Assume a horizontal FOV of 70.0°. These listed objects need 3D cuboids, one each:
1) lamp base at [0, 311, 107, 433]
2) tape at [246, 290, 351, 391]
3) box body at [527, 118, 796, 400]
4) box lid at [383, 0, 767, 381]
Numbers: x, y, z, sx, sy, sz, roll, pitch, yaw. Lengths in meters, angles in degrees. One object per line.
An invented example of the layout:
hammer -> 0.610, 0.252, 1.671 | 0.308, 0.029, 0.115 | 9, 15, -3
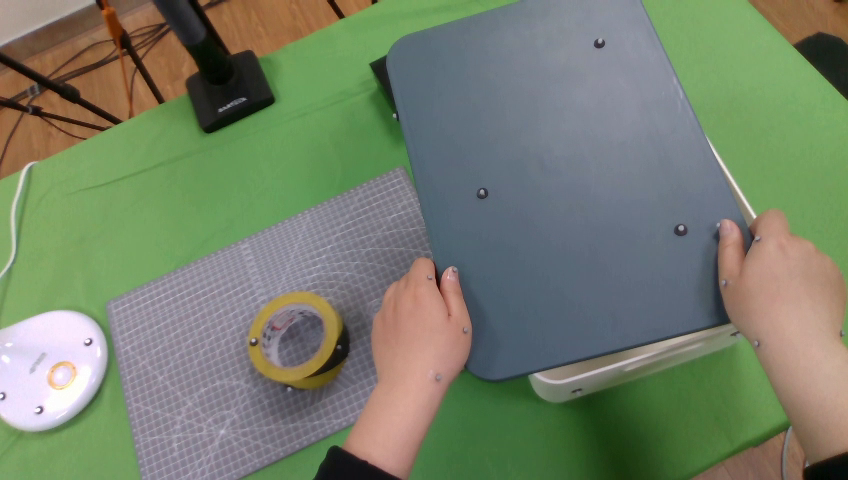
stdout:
lamp base -> -0.516, 0.136, 0.726 | 0.178, 0.182, 0.159 | 10, 68, 17
tape -> -0.152, 0.121, 0.737 | 0.117, 0.053, 0.116 | -3, 65, 8
box body -> 0.181, -0.028, 0.686 | 0.254, 0.162, 0.360 | -20, 64, 1
box lid -> 0.117, -0.077, 0.560 | 0.263, 0.015, 0.368 | -16, 68, 3
